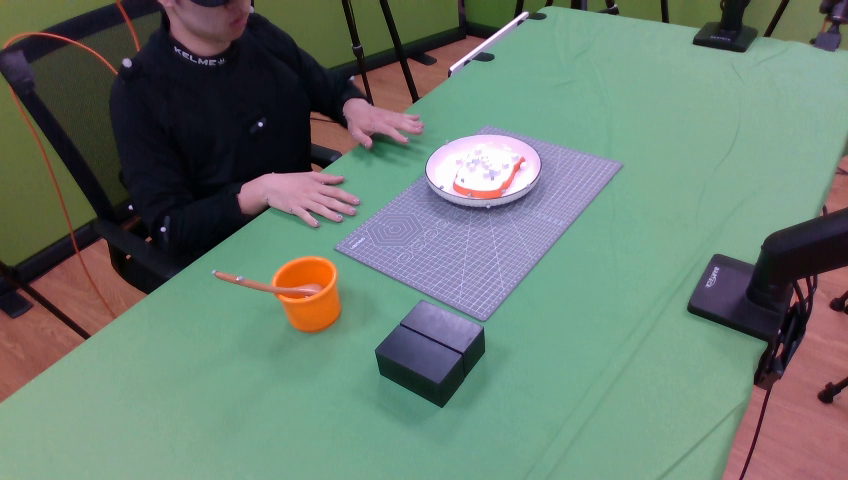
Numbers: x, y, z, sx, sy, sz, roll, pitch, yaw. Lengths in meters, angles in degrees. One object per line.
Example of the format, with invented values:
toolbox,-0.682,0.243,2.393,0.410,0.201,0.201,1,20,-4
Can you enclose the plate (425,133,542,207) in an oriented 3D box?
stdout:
plate,0.106,-0.121,1.079,0.209,0.038,0.208,-4,41,4

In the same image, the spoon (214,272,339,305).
spoon,-0.192,0.066,0.814,0.195,0.021,0.041,13,20,-44

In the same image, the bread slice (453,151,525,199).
bread slice,0.112,-0.118,1.079,0.104,0.019,0.131,11,42,21
